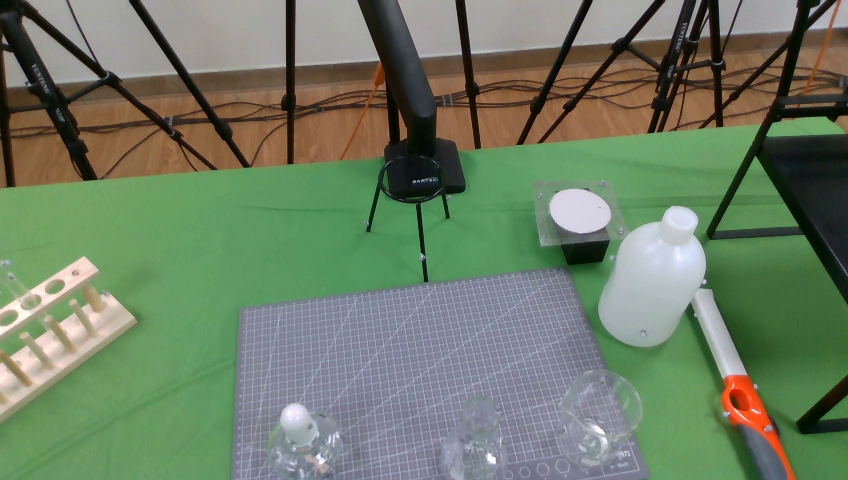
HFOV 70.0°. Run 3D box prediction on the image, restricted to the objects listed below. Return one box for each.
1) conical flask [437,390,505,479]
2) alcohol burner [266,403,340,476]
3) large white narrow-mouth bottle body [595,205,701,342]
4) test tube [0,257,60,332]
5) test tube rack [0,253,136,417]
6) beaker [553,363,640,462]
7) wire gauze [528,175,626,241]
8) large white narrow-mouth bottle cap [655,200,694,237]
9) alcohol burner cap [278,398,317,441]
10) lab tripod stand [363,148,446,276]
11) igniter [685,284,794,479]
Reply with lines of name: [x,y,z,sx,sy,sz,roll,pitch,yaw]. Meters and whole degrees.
conical flask: [0.052,0.200,0.628,0.075,0.123,0.074,0,50,0]
alcohol burner: [-0.128,0.199,0.631,0.078,0.120,0.077,2,49,-2]
large white narrow-mouth bottle body: [0.272,0.033,0.726,0.102,0.196,0.101,0,50,0]
test tube: [-0.458,0.064,0.696,0.017,0.151,0.017,1,52,-1]
test tube rack: [-0.476,0.128,0.708,0.066,0.086,0.242,34,57,24]
beaker: [0.178,0.190,0.653,0.084,0.101,0.073,-3,50,-1]
wire gauze: [0.212,-0.049,0.852,0.121,0.011,0.124,-1,50,-1]
large white narrow-mouth bottle cap: [0.272,-0.023,0.661,0.038,0.024,0.037,0,50,0]
alcohol burner cap: [-0.128,0.177,0.603,0.034,0.048,0.033,-3,50,4]
lab tripod stand: [-0.017,-0.045,0.828,0.148,0.132,0.147,2,51,-2]
igniter: [0.370,0.167,0.725,0.057,0.025,0.273,4,49,-11]
